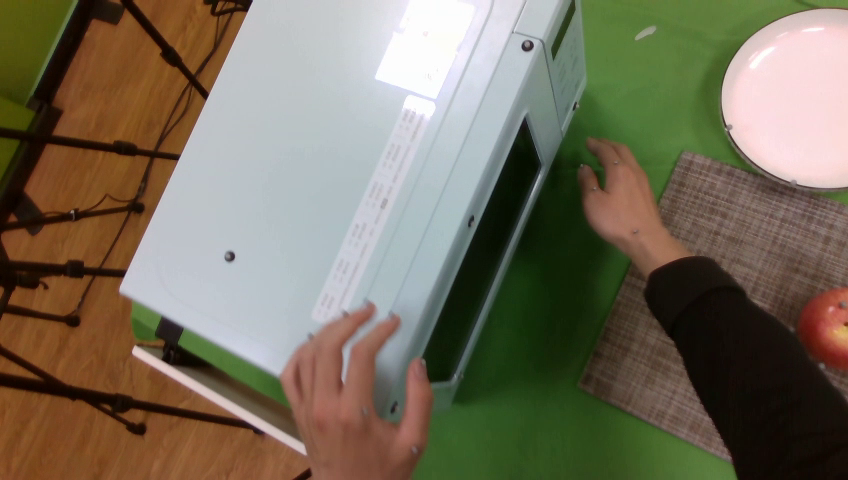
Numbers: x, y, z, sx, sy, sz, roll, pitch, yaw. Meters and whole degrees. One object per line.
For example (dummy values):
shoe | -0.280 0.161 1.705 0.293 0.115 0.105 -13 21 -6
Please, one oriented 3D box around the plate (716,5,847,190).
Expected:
plate | 0.431 -0.152 0.663 0.207 0.039 0.206 -3 79 16

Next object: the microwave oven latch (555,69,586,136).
microwave oven latch | 0.169 -0.167 0.725 0.030 0.030 0.079 23 87 19

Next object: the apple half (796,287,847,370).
apple half | 0.402 0.086 0.603 0.053 0.075 0.080 3 84 21

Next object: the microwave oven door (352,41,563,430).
microwave oven door | 0.050 0.013 0.618 0.039 0.245 0.355 22 86 20

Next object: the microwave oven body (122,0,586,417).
microwave oven body | -0.059 -0.077 0.673 0.324 0.262 0.441 22 87 19
